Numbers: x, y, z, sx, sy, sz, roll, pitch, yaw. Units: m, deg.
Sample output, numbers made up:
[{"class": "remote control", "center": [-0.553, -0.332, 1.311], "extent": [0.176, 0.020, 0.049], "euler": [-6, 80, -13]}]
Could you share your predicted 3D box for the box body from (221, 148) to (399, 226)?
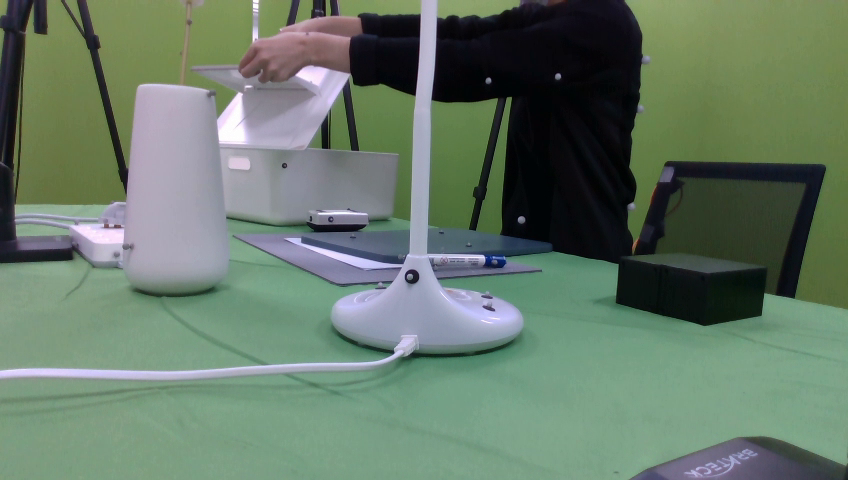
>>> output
[{"class": "box body", "center": [-0.264, -0.129, 1.380], "extent": [0.253, 0.160, 0.366], "euler": [8, 9, 39]}]

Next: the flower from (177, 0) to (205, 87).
[{"class": "flower", "center": [-0.243, -0.131, 0.609], "extent": [0.044, 0.361, 0.038], "euler": [-5, -12, 11]}]

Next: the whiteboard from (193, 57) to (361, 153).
[{"class": "whiteboard", "center": [-0.280, -0.314, 1.119], "extent": [0.216, 0.144, 0.305], "euler": [4, 47, 18]}]

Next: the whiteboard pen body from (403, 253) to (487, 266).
[{"class": "whiteboard pen body", "center": [0.039, 0.026, 0.785], "extent": [0.141, 0.017, 0.017], "euler": [2, 7, -24]}]

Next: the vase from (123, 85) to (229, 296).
[{"class": "vase", "center": [-0.244, -0.047, 0.598], "extent": [0.098, 0.200, 0.098], "euler": [3, 8, 0]}]

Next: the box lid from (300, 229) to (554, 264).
[{"class": "box lid", "center": [0.011, 0.006, 0.998], "extent": [0.374, 0.015, 0.262], "euler": [-3, 9, -43]}]

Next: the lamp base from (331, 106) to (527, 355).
[{"class": "lamp base", "center": [0.006, -0.012, 0.478], "extent": [0.161, 0.180, 0.179], "euler": [2, 10, 2]}]

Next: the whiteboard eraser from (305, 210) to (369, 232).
[{"class": "whiteboard eraser", "center": [-0.168, -0.038, 1.172], "extent": [0.113, 0.042, 0.055], "euler": [-3, 7, -35]}]

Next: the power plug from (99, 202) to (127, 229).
[{"class": "power plug", "center": [-0.415, -0.026, 0.848], "extent": [0.073, 0.052, 0.035], "euler": [6, 5, -28]}]

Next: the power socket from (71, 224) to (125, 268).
[{"class": "power socket", "center": [-0.409, 0.004, 0.793], "extent": [0.072, 0.032, 0.225], "euler": [-2, 8, -37]}]

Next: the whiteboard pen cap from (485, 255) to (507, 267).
[{"class": "whiteboard pen cap", "center": [0.093, 0.028, 0.810], "extent": [0.033, 0.018, 0.018], "euler": [2, 7, -24]}]
